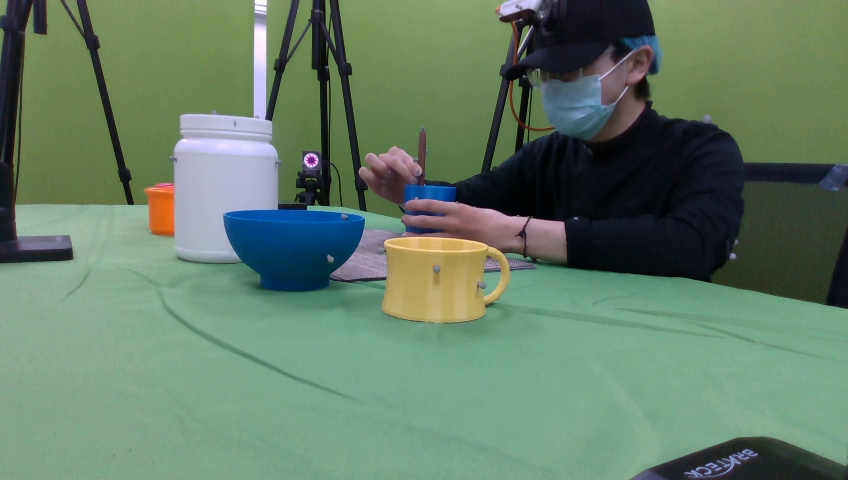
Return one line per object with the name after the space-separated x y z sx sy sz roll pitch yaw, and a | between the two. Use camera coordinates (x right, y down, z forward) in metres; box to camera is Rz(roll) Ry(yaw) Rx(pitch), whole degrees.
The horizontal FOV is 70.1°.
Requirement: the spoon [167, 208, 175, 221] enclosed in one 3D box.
-0.447 -0.104 1.192 0.041 0.022 0.193 7 52 14 | spoon

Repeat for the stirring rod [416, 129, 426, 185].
-0.006 -0.088 0.959 0.014 0.176 0.006 3 0 39 | stirring rod

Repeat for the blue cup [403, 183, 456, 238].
0.005 -0.038 0.966 0.093 0.100 0.092 4 7 0 | blue cup

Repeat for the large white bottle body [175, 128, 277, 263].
-0.265 -0.068 0.814 0.131 0.184 0.130 2 7 0 | large white bottle body

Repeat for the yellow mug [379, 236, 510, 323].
0.024 0.034 0.575 0.131 0.064 0.099 1 7 -22 | yellow mug

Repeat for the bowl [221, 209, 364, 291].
-0.142 0.011 0.660 0.151 0.077 0.151 2 7 0 | bowl

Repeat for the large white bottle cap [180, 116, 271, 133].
-0.262 -0.152 0.803 0.115 0.018 0.115 2 7 0 | large white bottle cap
